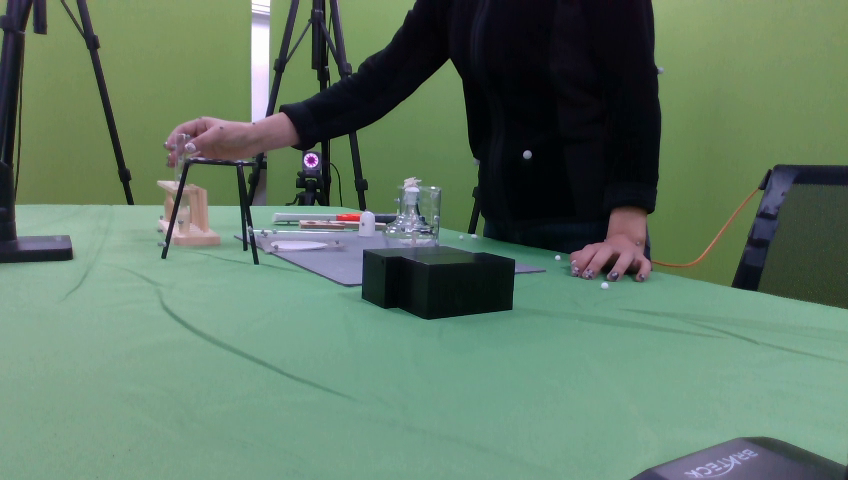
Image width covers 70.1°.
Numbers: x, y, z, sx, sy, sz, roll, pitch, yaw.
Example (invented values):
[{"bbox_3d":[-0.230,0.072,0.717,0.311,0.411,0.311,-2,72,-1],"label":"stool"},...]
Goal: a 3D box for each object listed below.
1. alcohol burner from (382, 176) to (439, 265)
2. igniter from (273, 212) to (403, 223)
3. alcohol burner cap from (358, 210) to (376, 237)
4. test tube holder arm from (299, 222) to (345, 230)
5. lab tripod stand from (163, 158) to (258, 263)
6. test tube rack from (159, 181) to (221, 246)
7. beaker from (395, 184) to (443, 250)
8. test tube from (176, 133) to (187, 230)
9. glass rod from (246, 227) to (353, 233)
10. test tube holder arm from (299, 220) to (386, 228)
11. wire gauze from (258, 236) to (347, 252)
[{"bbox_3d":[-0.018,-0.026,0.818,0.078,0.119,0.078,3,9,0],"label":"alcohol burner"},{"bbox_3d":[-0.179,-0.048,1.290,0.278,0.025,0.057,-1,-2,-24],"label":"igniter"},{"bbox_3d":[-0.104,-0.030,1.098,0.034,0.048,0.034,2,7,0],"label":"alcohol burner cap"},{"bbox_3d":[-0.196,-0.027,1.169,0.088,0.015,0.010,-1,42,-28],"label":"test tube holder arm"},{"bbox_3d":[-0.265,-0.041,0.802,0.148,0.131,0.148,4,7,0],"label":"lab tripod stand"},{"bbox_3d":[-0.395,-0.050,1.010,0.067,0.085,0.241,-2,9,-28],"label":"test tube rack"},{"bbox_3d":[-0.007,-0.037,0.964,0.074,0.100,0.083,-4,11,-40],"label":"beaker"},{"bbox_3d":[-0.373,-0.089,0.931,0.017,0.150,0.017,3,10,0],"label":"test tube"},{"bbox_3d":[-0.224,-0.017,1.109,0.201,0.008,0.008,1,7,-27],"label":"glass rod"},{"bbox_3d":[-0.158,-0.031,1.195,0.179,0.015,0.013,-1,42,-28],"label":"test tube holder arm"},{"bbox_3d":[-0.190,0.005,0.931,0.122,0.011,0.124,1,7,-21],"label":"wire gauze"}]
